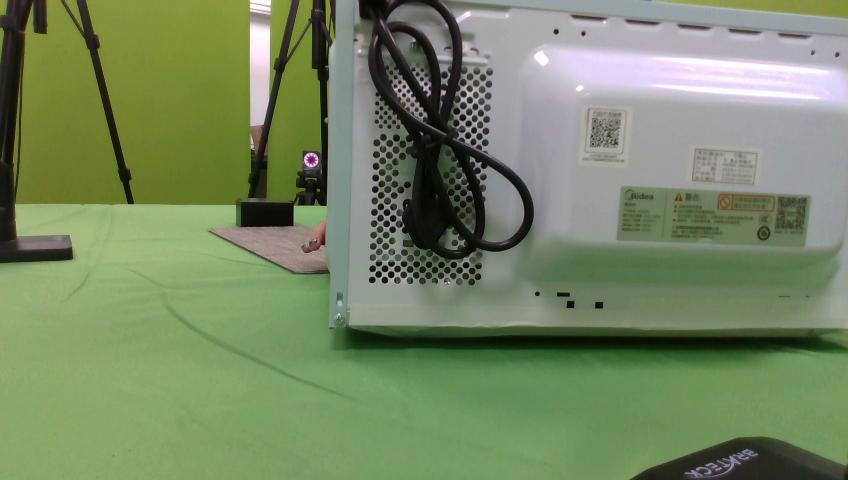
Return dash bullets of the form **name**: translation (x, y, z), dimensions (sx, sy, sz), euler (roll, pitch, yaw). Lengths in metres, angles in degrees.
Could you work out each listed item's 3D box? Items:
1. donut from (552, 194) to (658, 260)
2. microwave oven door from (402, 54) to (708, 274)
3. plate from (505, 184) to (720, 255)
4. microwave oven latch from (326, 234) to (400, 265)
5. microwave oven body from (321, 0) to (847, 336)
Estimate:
- **donut**: translation (0.171, -0.016, 0.576), dimensions (0.099, 0.048, 0.099), euler (-10, 16, 3)
- **microwave oven door**: translation (0.157, -0.085, 0.717), dimensions (0.357, 0.243, 0.039), euler (1, 8, -8)
- **plate**: translation (0.184, -0.022, 0.616), dimensions (0.209, 0.038, 0.209), euler (4, 14, -1)
- **microwave oven latch**: translation (-0.069, 0.011, 0.693), dimensions (0.079, 0.029, 0.030), euler (4, 6, 7)
- **microwave oven body**: translation (0.133, -0.062, 0.567), dimensions (0.443, 0.260, 0.325), euler (2, 7, -8)
